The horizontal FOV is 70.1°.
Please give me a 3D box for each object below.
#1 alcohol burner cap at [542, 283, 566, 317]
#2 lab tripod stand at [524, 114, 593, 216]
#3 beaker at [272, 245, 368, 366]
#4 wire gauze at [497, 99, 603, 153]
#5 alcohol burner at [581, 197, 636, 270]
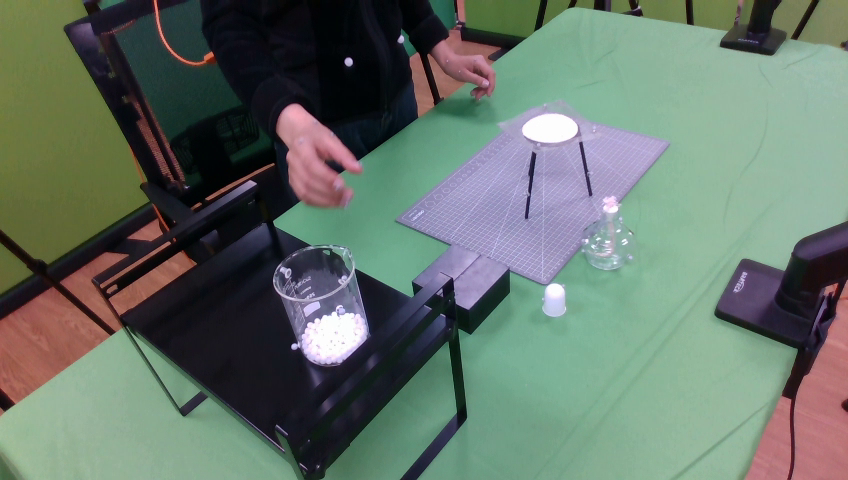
[{"bbox_3d":[0.181,0.080,0.840,0.034,0.048,0.033,-3,40,3],"label":"alcohol burner cap"},{"bbox_3d":[0.210,-0.127,1.001,0.148,0.132,0.147,-4,43,4],"label":"lab tripod stand"},{"bbox_3d":[-0.093,0.064,0.578,0.073,0.101,0.084,21,48,29],"label":"beaker"},{"bbox_3d":[0.199,-0.181,0.962,0.125,0.011,0.120,-20,43,-13],"label":"wire gauze"},{"bbox_3d":[0.270,-0.015,0.882,0.078,0.119,0.077,-5,42,5],"label":"alcohol burner"}]
